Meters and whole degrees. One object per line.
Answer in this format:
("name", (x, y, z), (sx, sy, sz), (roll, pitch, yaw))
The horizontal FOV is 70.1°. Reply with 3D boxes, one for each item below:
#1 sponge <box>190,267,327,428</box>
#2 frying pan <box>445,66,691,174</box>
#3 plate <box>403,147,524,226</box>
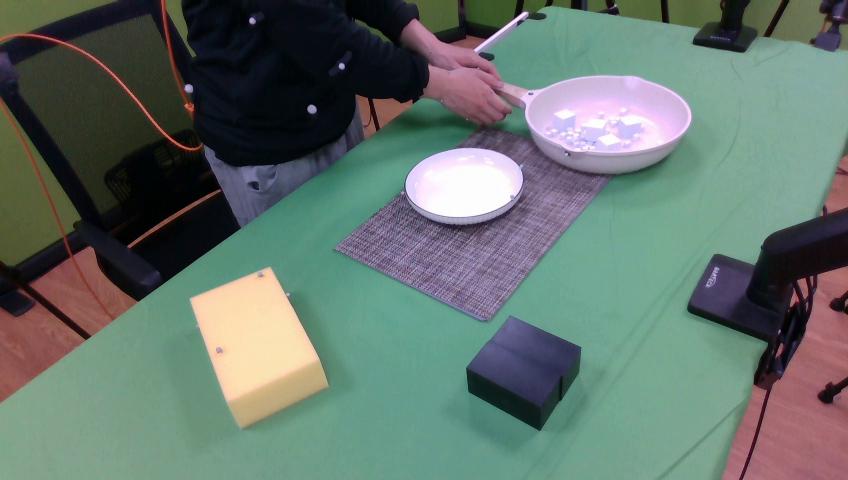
("sponge", (-0.226, 0.135, 0.814), (0.119, 0.061, 0.205), (-23, 43, -19))
("frying pan", (0.250, -0.258, 1.165), (0.485, 0.103, 0.307), (27, 48, 22))
("plate", (0.069, -0.089, 1.044), (0.207, 0.039, 0.206), (-4, 41, 4))
